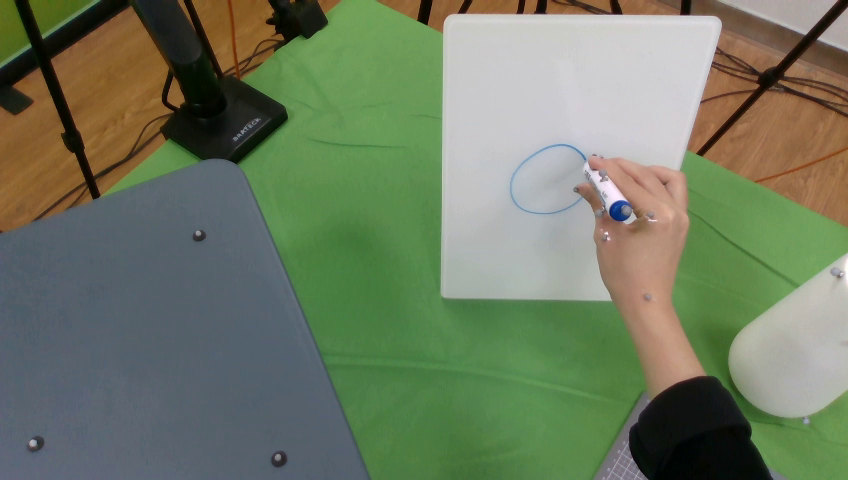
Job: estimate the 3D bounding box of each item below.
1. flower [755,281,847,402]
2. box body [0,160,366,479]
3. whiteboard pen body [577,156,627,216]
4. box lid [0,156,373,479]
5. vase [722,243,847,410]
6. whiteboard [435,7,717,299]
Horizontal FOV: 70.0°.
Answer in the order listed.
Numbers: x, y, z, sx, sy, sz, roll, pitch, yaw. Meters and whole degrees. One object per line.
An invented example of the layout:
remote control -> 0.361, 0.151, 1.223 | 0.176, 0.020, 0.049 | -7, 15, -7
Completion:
flower -> 0.342, 0.021, 0.467 | 0.044, 0.364, 0.038 | 25, 45, 19
box body -> -0.214, 0.143, 0.514 | 0.254, 0.162, 0.360 | -23, 62, -13
whiteboard pen body -> 0.137, -0.048, 0.482 | 0.017, 0.017, 0.140 | 2, 22, 2
box lid -> -0.216, 0.102, 0.451 | 0.263, 0.015, 0.368 | -23, 61, -14
vase -> 0.341, 0.077, 0.530 | 0.098, 0.201, 0.097 | 0, 57, 1
whiteboard -> 0.122, -0.100, 0.612 | 0.217, 0.308, 0.142 | 1, 40, 2
